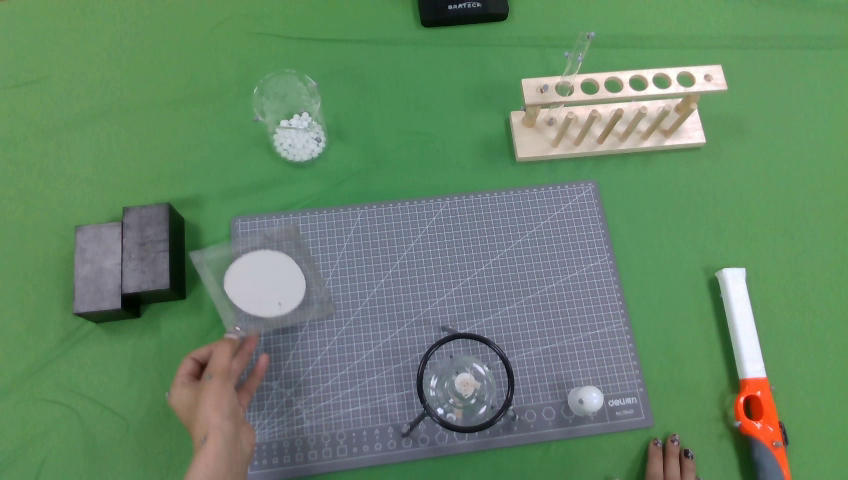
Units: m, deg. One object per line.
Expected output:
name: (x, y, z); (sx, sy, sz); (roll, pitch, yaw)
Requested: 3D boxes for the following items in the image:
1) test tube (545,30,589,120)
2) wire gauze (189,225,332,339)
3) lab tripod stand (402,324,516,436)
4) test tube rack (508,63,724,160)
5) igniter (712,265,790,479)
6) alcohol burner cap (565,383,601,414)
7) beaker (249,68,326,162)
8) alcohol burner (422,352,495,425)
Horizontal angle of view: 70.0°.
test tube: (0.161, -0.184, 0.698); (0.017, 0.151, 0.017); (1, 68, -2)
wire gauze: (-0.180, 0.043, 0.677); (0.125, 0.011, 0.120); (-15, 65, -32)
lab tripod stand: (0.032, 0.145, 0.610); (0.148, 0.132, 0.147); (0, 71, -1)
test tube rack: (0.233, -0.156, 0.744); (0.242, 0.085, 0.066); (-5, 72, -4)
igniter: (0.367, 0.163, 0.680); (0.057, 0.025, 0.274); (1, 72, -13)
alcohol burner cap: (0.175, 0.171, 0.657); (0.034, 0.048, 0.033); (0, 71, -1)
beaker: (-0.154, -0.140, 0.713); (0.074, 0.101, 0.083); (-36, 78, -12)
alcohol burner: (0.037, 0.151, 0.619); (0.078, 0.120, 0.077); (1, 70, -3)
